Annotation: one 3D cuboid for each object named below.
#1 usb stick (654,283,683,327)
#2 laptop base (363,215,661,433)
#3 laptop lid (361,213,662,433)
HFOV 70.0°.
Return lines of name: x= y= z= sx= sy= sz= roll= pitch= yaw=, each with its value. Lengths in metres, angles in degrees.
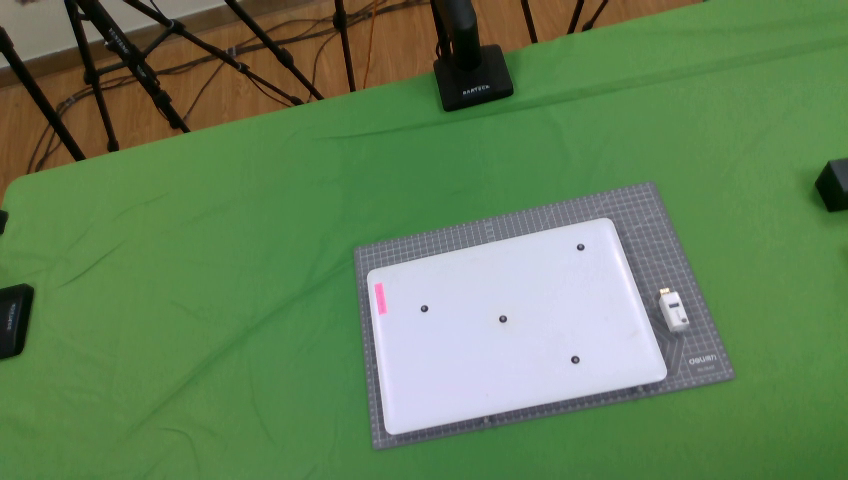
usb stick: x=0.307 y=0.079 z=0.769 sx=0.021 sy=0.027 sz=0.058 roll=-15 pitch=57 yaw=8
laptop base: x=0.101 y=0.104 z=0.803 sx=0.354 sy=0.023 sz=0.233 roll=-13 pitch=63 yaw=4
laptop lid: x=0.099 y=0.101 z=0.792 sx=0.356 sy=0.013 sz=0.239 roll=-12 pitch=62 yaw=5
